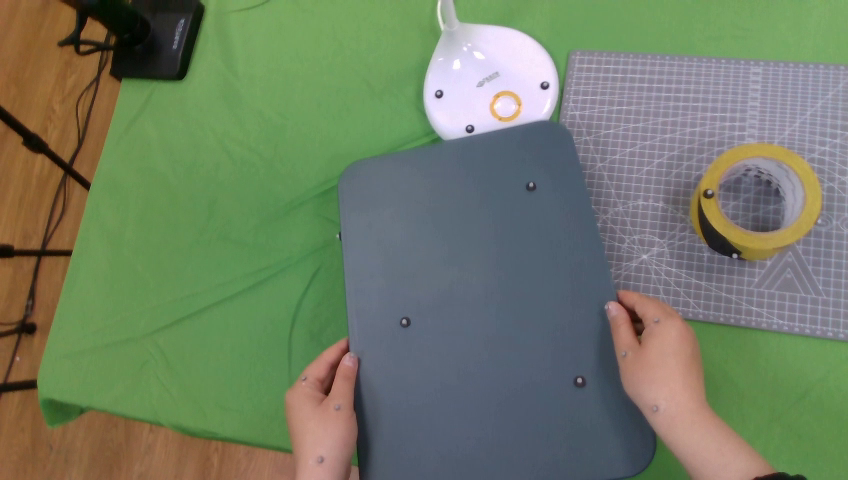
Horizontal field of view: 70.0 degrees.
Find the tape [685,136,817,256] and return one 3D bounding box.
[{"bbox_3d":[0.328,-0.045,0.616,0.116,0.053,0.116,-3,76,10],"label":"tape"}]

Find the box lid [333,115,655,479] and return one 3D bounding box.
[{"bbox_3d":[0.049,0.050,0.595,0.263,0.015,0.368,-12,66,6],"label":"box lid"}]

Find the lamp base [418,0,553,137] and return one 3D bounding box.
[{"bbox_3d":[0.047,-0.208,0.650,0.160,0.181,0.178,-42,69,-1],"label":"lamp base"}]
